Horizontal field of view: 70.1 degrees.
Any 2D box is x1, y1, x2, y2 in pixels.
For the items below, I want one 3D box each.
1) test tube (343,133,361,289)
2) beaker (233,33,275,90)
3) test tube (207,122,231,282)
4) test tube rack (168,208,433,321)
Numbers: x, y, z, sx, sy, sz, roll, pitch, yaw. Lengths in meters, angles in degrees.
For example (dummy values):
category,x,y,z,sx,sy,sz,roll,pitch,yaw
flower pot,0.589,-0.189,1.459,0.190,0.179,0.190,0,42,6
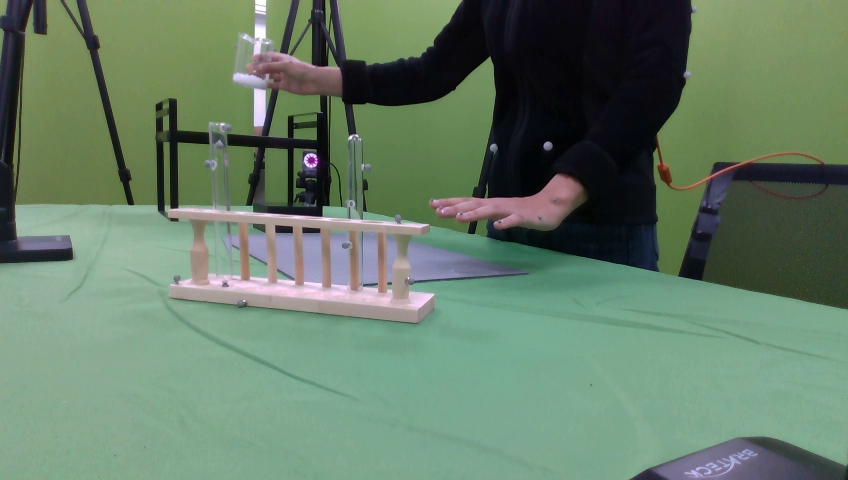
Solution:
category,x,y,z,sx,sy,sz,roll,pitch,yaw
test tube,-0.069,-0.025,0.575,0.017,0.150,0.017,1,10,0
beaker,-0.347,-0.360,1.229,0.074,0.100,0.084,9,10,-13
test tube,-0.191,-0.034,0.565,0.017,0.150,0.017,1,11,0
test tube rack,-0.115,0.017,0.574,0.242,0.085,0.067,4,8,13
